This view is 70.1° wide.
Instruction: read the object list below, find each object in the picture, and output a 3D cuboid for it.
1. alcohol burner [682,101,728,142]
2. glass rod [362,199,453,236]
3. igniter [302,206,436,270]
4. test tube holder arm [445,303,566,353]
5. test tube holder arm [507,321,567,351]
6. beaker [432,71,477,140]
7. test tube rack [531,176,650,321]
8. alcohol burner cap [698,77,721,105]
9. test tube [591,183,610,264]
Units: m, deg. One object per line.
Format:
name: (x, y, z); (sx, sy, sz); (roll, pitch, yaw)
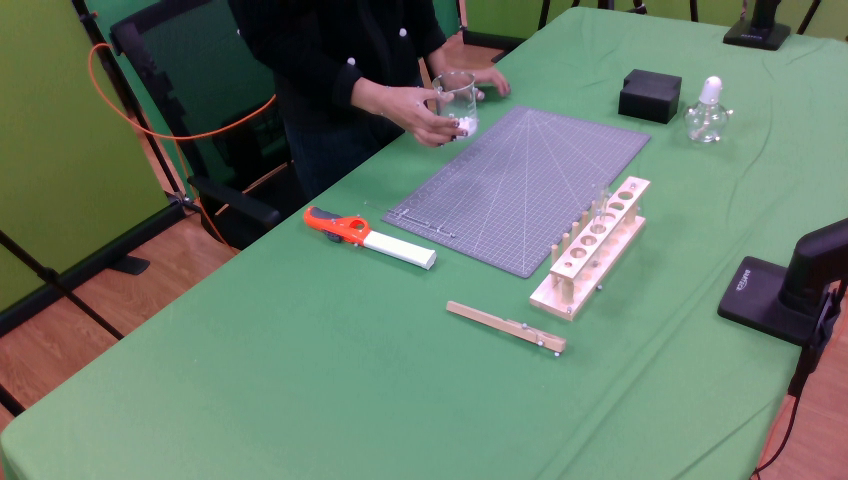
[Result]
alcohol burner: (0.513, -0.239, 1.097); (0.078, 0.119, 0.077); (-4, 40, 4)
glass rod: (-0.032, -0.041, 1.041); (0.198, 0.008, 0.008); (22, 50, 31)
igniter: (-0.101, -0.007, 1.004); (0.274, 0.025, 0.057); (19, 58, 29)
test tube holder arm: (0.107, 0.117, 0.824); (0.177, 0.015, 0.013); (16, 11, 27)
test tube holder arm: (0.148, 0.128, 0.808); (0.087, 0.015, 0.010); (16, 11, 28)
beaker: (0.054, -0.232, 1.057); (0.073, 0.101, 0.084); (13, 44, 26)
test tube rack: (0.246, 0.002, 0.884); (0.066, 0.085, 0.243); (22, 49, 32)
alcohol burner cap: (0.509, -0.266, 1.072); (0.034, 0.048, 0.033); (-4, 48, 5)
test tube: (0.242, -0.019, 0.832); (0.017, 0.151, 0.017); (-5, 46, 6)
